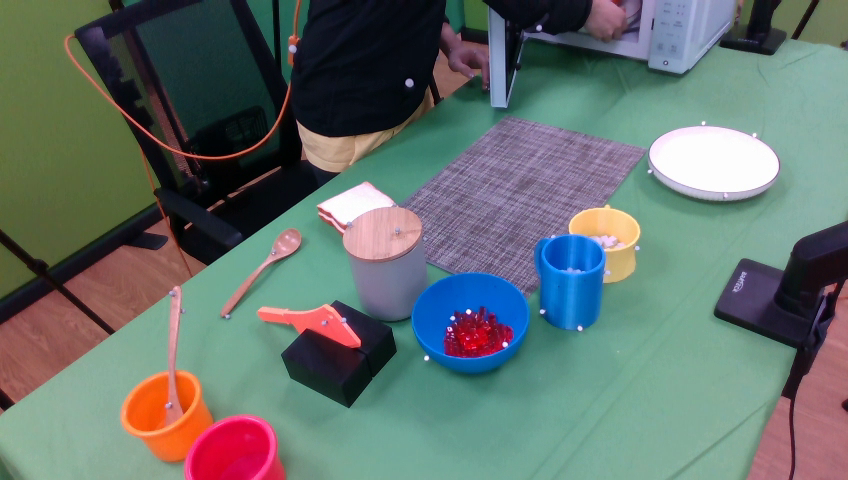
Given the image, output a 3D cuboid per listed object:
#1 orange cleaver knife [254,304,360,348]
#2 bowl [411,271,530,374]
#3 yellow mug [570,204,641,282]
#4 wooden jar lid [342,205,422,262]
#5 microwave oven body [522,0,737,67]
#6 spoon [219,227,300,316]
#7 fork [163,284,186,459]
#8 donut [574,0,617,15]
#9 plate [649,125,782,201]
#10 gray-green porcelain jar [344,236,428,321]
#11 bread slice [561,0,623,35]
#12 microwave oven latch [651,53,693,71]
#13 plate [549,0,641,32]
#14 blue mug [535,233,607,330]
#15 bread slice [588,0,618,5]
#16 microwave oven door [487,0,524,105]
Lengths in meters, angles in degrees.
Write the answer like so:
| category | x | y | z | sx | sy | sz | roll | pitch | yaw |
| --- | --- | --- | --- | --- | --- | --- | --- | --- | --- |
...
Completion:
| category | x | y | z | sx | sy | sz | roll | pitch | yaw |
| --- | --- | --- | --- | --- | --- | --- | --- | --- | --- |
| orange cleaver knife | -0.161 | 0.115 | 0.813 | 0.210 | 0.077 | 0.012 | -4 | 33 | 46 |
| bowl | 0.062 | 0.120 | 0.780 | 0.151 | 0.077 | 0.150 | -4 | 40 | 4 |
| yellow mug | 0.268 | -0.005 | 0.904 | 0.099 | 0.064 | 0.130 | 7 | 42 | 15 |
| wooden jar lid | -0.055 | -0.006 | 0.808 | 0.108 | 0.021 | 0.108 | -6 | 41 | 6 |
| microwave oven body | 0.475 | -0.602 | 1.411 | 0.438 | 0.261 | 0.327 | 23 | 50 | 32 |
| spoon | -0.261 | 0.046 | 0.954 | 0.041 | 0.021 | 0.194 | 27 | 48 | 10 |
| fork | -0.303 | 0.157 | 0.733 | 0.028 | 0.019 | 0.207 | -3 | 84 | 13 |
| donut | 0.392 | -0.553 | 1.383 | 0.099 | 0.048 | 0.098 | -2 | 55 | 3 |
| plate | 0.493 | -0.128 | 1.036 | 0.207 | 0.039 | 0.206 | -4 | 41 | 4 |
| gray-green porcelain jar | -0.049 | 0.042 | 0.849 | 0.106 | 0.127 | 0.105 | -4 | 41 | 4 |
| bread slice | 0.386 | -0.535 | 1.415 | 0.105 | 0.019 | 0.130 | -31 | 59 | -20 |
| microwave oven latch | 0.532 | -0.386 | 1.301 | 0.078 | 0.029 | 0.030 | 27 | 52 | 34 |
| plate | 0.396 | -0.538 | 1.407 | 0.209 | 0.038 | 0.208 | -4 | 47 | 5 |
| blue mug | 0.191 | 0.048 | 0.824 | 0.082 | 0.106 | 0.115 | -26 | 44 | -20 |
| bread slice | 0.391 | -0.579 | 1.367 | 0.133 | 0.018 | 0.107 | 37 | 68 | 24 |
| microwave oven door | 0.181 | -0.488 | 1.314 | 0.039 | 0.245 | 0.355 | 4 | 42 | 13 |
